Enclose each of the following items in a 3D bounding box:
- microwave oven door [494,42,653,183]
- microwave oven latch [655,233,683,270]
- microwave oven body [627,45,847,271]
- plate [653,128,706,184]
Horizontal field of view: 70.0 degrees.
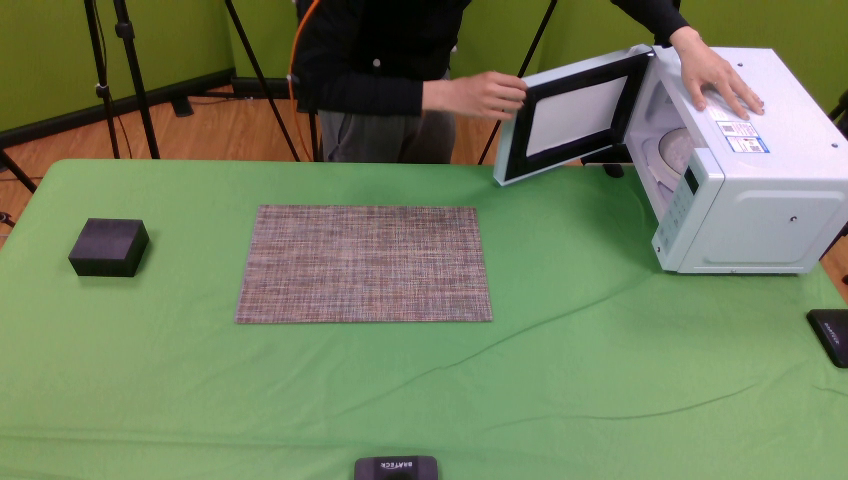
[{"bbox_3d":[0.321,-0.274,1.304,0.356,0.245,0.039,-21,51,-21],"label":"microwave oven door"},{"bbox_3d":[0.473,0.021,1.176,0.030,0.029,0.078,2,46,-1],"label":"microwave oven latch"},{"bbox_3d":[0.619,-0.172,1.234,0.326,0.261,0.439,0,46,-3],"label":"microwave oven body"},{"bbox_3d":[0.598,-0.166,1.303,0.209,0.038,0.208,0,46,1],"label":"plate"}]
